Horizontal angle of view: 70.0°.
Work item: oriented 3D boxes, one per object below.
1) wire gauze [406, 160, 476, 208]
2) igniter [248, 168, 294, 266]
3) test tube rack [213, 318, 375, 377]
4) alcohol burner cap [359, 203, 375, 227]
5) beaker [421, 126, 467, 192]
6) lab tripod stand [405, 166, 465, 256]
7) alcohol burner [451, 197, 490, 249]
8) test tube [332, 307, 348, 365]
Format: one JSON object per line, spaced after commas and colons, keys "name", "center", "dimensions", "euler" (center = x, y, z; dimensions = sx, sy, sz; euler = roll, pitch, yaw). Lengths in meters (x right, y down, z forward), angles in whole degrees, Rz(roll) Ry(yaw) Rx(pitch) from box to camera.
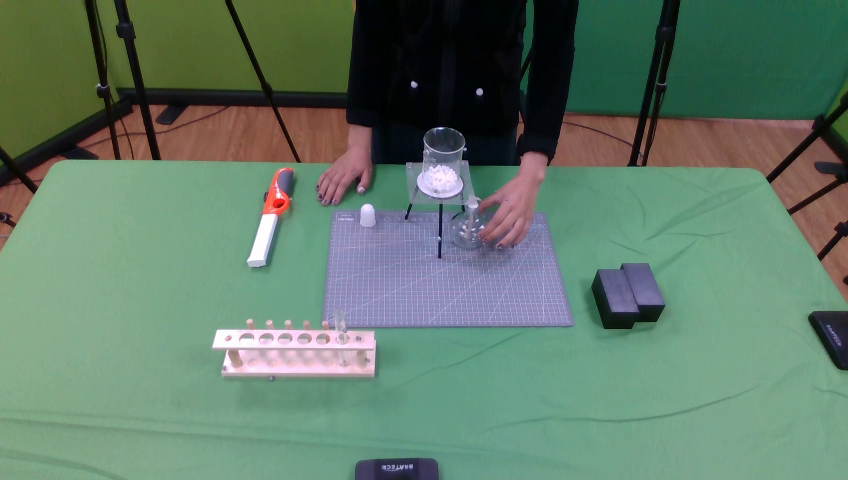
{"name": "wire gauze", "center": [0.031, -0.107, 1.130], "dimensions": [0.125, 0.011, 0.120], "euler": [1, 48, -7]}
{"name": "igniter", "center": [-0.307, -0.055, 1.225], "dimensions": [0.057, 0.025, 0.275], "euler": [-3, 45, 6]}
{"name": "test tube rack", "center": [-0.202, 0.169, 0.977], "dimensions": [0.242, 0.085, 0.066], "euler": [1, 46, -3]}
{"name": "alcohol burner cap", "center": [-0.115, -0.053, 1.224], "dimensions": [0.034, 0.048, 0.033], "euler": [3, 47, -3]}
{"name": "beaker", "center": [0.032, -0.146, 1.100], "dimensions": [0.074, 0.101, 0.083], "euler": [-16, 50, -20]}
{"name": "lab tripod stand", "center": [0.030, -0.063, 1.180], "dimensions": [0.148, 0.132, 0.147], "euler": [3, 47, -3]}
{"name": "alcohol burner", "center": [0.091, -0.040, 1.175], "dimensions": [0.078, 0.120, 0.077], "euler": [2, 48, -2]}
{"name": "test tube", "center": [-0.128, 0.151, 0.931], "dimensions": [0.017, 0.151, 0.017], "euler": [1, 50, -2]}
